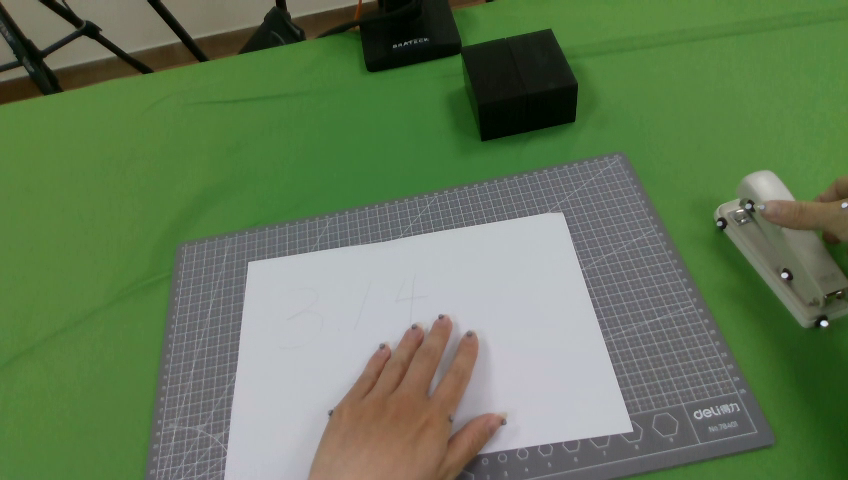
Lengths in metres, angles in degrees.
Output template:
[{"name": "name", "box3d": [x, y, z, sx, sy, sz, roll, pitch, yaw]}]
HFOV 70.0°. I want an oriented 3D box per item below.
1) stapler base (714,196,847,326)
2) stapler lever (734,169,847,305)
[{"name": "stapler base", "box3d": [0.288, 0.007, 0.491, 0.041, 0.025, 0.129, -21, 53, 0]}, {"name": "stapler lever", "box3d": [0.285, -0.007, 0.470, 0.027, 0.040, 0.116, -21, 53, 0]}]
